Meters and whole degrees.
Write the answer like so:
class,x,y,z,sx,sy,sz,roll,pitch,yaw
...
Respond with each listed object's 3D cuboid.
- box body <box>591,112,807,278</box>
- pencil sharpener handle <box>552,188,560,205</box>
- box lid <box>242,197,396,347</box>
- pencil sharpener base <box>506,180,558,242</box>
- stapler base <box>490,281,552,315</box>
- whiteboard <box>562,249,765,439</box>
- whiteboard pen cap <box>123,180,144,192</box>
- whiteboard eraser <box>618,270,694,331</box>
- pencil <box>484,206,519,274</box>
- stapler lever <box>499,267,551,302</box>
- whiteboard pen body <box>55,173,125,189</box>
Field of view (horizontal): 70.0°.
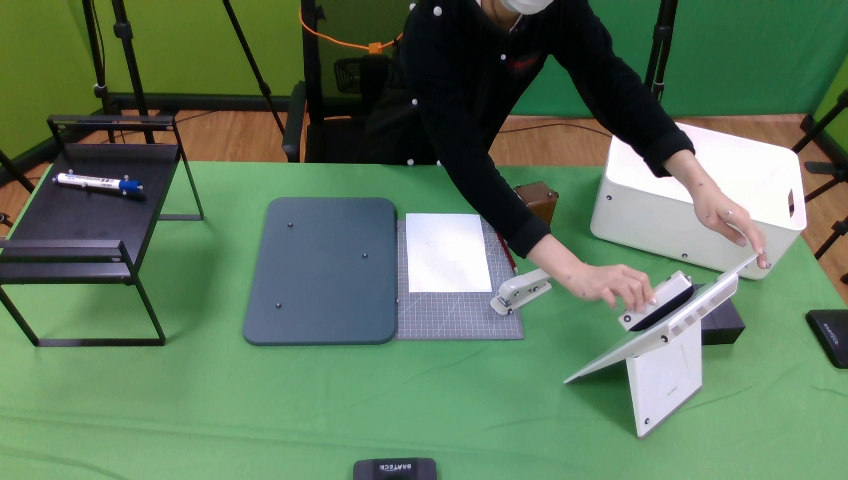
class,x,y,z,sx,sy,sz,roll,pitch,yaw
box body,0.540,-0.092,1.229,0.363,0.161,0.253,16,47,11
pencil sharpener handle,0.261,-0.084,1.221,0.031,0.068,0.036,-16,66,-19
box lid,-0.186,0.046,1.147,0.263,0.015,0.369,0,46,-3
pencil sharpener base,0.216,-0.058,1.211,0.077,0.107,0.061,-16,49,-19
stapler base,0.181,0.094,1.118,0.130,0.024,0.041,-24,57,-29
whiteboard,0.387,0.176,0.905,0.217,0.306,0.143,-26,72,-26
whiteboard pen cap,-0.479,-0.088,0.993,0.033,0.018,0.018,7,46,14
whiteboard eraser,0.337,0.092,0.878,0.042,0.113,0.055,51,20,7
pencil,0.156,-0.002,1.218,0.012,0.012,0.192,-9,48,-13
stapler lever,0.185,0.076,1.101,0.118,0.040,0.026,-25,57,-29
whiteboard pen body,-0.539,-0.095,0.998,0.141,0.017,0.017,6,46,6
